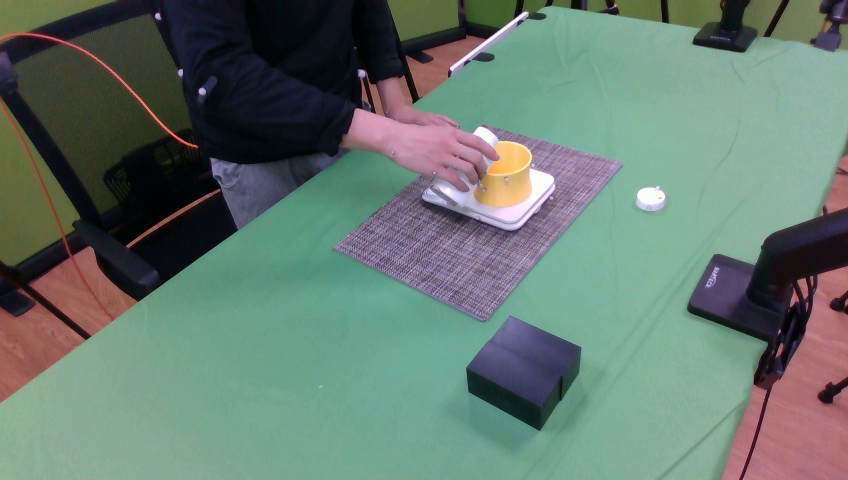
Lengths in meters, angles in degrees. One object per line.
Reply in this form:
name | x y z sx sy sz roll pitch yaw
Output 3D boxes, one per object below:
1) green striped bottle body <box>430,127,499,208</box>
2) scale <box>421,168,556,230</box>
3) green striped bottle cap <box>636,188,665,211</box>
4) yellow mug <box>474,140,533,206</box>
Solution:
green striped bottle body | 0.066 -0.113 0.917 0.062 0.064 0.119 30 82 36
scale | 0.110 -0.089 1.042 0.199 0.032 0.149 23 49 31
green striped bottle cap | 0.374 -0.067 0.998 0.044 0.020 0.044 -6 39 5
yellow mug | 0.125 -0.120 1.004 0.100 0.064 0.130 -13 40 -5
